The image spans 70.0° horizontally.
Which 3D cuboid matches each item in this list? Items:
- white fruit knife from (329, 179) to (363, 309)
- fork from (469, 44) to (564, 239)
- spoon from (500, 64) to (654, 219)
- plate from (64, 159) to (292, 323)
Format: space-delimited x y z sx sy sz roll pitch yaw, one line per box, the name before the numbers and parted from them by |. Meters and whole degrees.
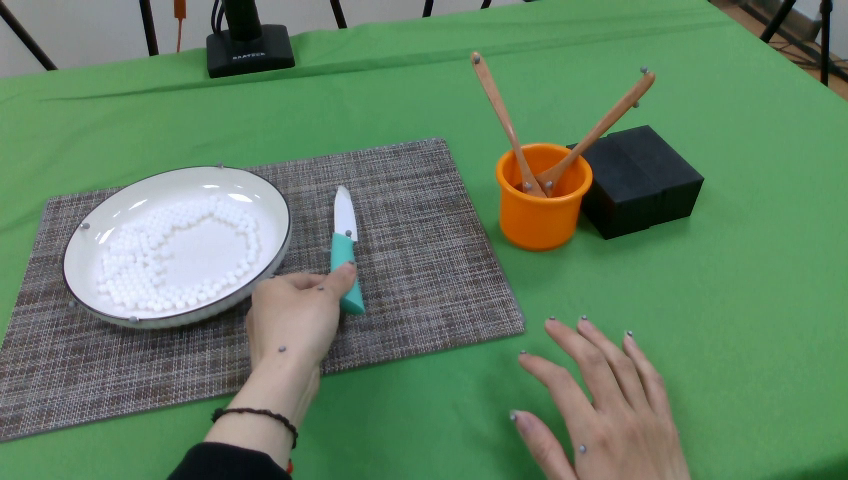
white fruit knife | -0.079 -0.006 0.583 0.027 0.016 0.205 5 34 -13
fork | 0.089 -0.098 0.598 0.028 0.018 0.207 -24 93 -6
spoon | 0.147 -0.092 0.587 0.041 0.194 0.021 46 23 5
plate | -0.230 -0.001 0.587 0.209 0.038 0.207 -1 45 1
